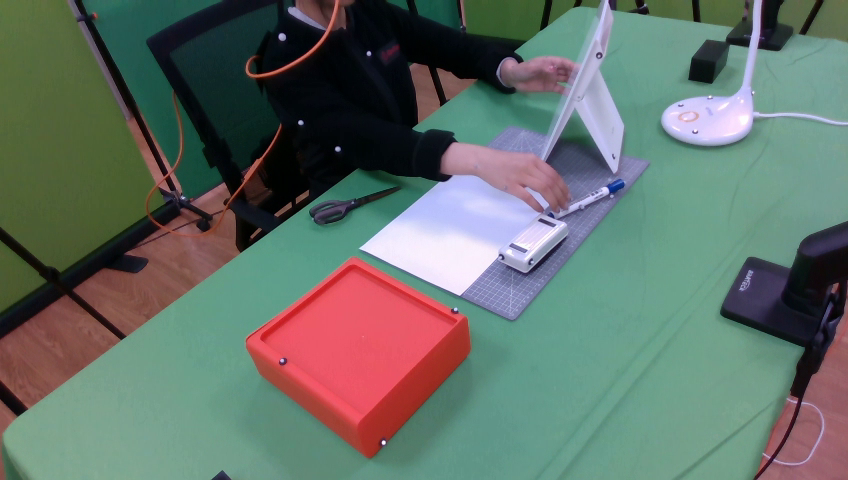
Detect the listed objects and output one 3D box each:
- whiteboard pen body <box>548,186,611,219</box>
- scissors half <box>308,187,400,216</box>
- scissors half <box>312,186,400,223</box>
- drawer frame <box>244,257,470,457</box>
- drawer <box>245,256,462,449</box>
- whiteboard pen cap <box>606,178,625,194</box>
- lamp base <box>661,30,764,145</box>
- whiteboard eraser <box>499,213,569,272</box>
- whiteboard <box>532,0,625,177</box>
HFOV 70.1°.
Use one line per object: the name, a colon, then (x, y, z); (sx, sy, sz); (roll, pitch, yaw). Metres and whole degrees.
whiteboard pen body: (0.267, -0.066, 1.004); (0.141, 0.017, 0.017); (-25, 43, -13)
scissors half: (-0.126, -0.075, 1.104); (0.176, 0.013, 0.039); (-15, 29, -10)
scissors half: (-0.119, -0.066, 1.088); (0.176, 0.013, 0.040); (-25, 38, -24)
drawer frame: (-0.084, 0.138, 0.788); (0.212, 0.083, 0.202); (25, 50, 33)
drawer: (-0.089, 0.136, 0.792); (0.210, 0.073, 0.195); (26, 51, 34)
whiteboard pen cap: (0.320, -0.090, 1.016); (0.033, 0.018, 0.018); (-27, 43, -13)
lamp base: (0.535, -0.287, 1.095); (0.179, 0.181, 0.159); (-10, 40, -4)
whiteboard eraser: (0.168, 0.006, 0.923); (0.055, 0.042, 0.113); (29, 53, 34)
whiteboard: (0.320, -0.258, 1.050); (0.144, 0.306, 0.217); (21, 45, 5)
